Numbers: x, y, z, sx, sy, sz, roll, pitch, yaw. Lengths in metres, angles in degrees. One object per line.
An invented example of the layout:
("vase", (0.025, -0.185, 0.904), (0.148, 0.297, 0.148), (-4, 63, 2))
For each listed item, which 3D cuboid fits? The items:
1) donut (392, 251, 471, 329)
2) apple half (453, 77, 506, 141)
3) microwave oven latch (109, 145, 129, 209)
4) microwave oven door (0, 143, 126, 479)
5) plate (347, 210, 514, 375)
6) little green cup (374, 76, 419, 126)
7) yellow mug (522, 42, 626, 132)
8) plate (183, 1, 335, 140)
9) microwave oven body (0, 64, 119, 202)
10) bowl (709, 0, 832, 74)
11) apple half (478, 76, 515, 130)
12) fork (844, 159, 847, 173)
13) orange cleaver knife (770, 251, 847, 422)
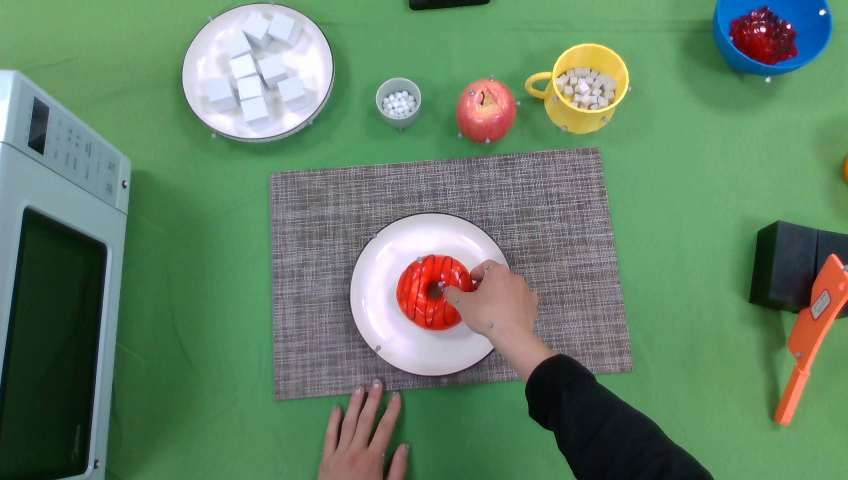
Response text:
("donut", (0.010, 0.062, 0.754), (0.099, 0.048, 0.098), (0, 79, 2))
("apple half", (0.067, -0.166, 0.806), (0.053, 0.075, 0.080), (-31, 81, -2))
("microwave oven latch", (-0.404, -0.081, 0.788), (0.030, 0.029, 0.079), (0, 77, 0))
("microwave oven door", (-0.403, 0.107, 0.639), (0.039, 0.245, 0.354), (-2, 76, 1))
("plate", (0.008, 0.065, 0.765), (0.209, 0.038, 0.208), (0, 77, 1))
("little green cup", (-0.036, -0.188, 0.830), (0.061, 0.039, 0.061), (0, 76, 1))
("yellow mug", (0.198, -0.207, 0.817), (0.131, 0.064, 0.099), (6, 76, 3))
("plate", (-0.225, -0.231, 0.842), (0.208, 0.039, 0.206), (0, 76, 1))
("microwave oven body", (-0.550, 0.071, 0.655), (0.326, 0.261, 0.439), (-2, 77, 0))
("bowl", (0.455, -0.285, 0.827), (0.151, 0.077, 0.150), (0, 77, 1))
("apple half", (0.101, -0.186, 0.809), (0.033, 0.081, 0.081), (-32, 78, -2))
("fork", (0.642, -0.109, 0.746), (0.206, 0.019, 0.028), (-9, 68, 44))
("orange cleaver knife", (0.455, 0.117, 0.725), (0.012, 0.077, 0.212), (14, 109, 6))
